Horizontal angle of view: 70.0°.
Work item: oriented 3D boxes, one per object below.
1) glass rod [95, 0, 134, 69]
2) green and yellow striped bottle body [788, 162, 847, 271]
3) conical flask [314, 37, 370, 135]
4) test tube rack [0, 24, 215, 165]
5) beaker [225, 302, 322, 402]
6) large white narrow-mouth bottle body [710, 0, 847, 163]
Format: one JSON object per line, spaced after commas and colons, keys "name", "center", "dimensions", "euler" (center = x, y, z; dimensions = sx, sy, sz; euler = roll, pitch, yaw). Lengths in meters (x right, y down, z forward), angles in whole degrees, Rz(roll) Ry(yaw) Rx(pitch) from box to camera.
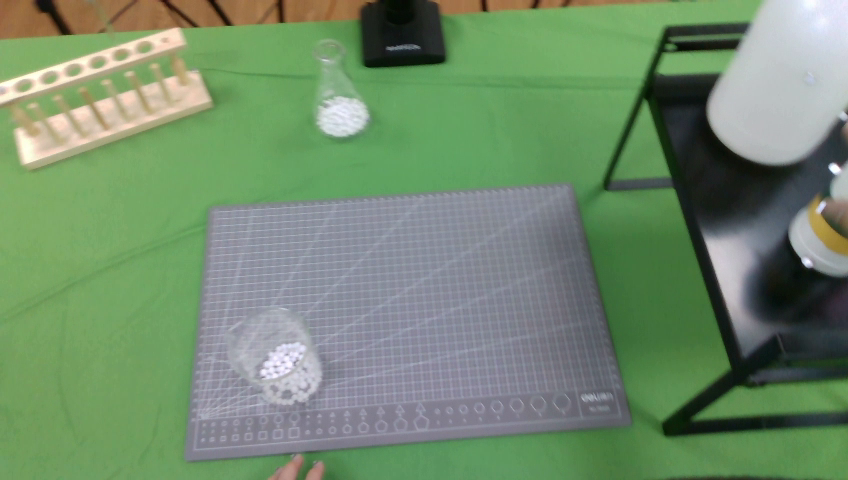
{"name": "glass rod", "center": [-0.378, -0.255, 0.734], "dimensions": [0.008, 0.201, 0.008], "euler": [-1, 53, 2]}
{"name": "green and yellow striped bottle body", "center": [0.342, -0.029, 0.467], "dimensions": [0.063, 0.120, 0.062], "euler": [0, 61, 0]}
{"name": "conical flask", "center": [-0.109, -0.196, 0.759], "dimensions": [0.075, 0.123, 0.074], "euler": [0, 61, 0]}
{"name": "test tube rack", "center": [-0.406, -0.186, 0.771], "dimensions": [0.242, 0.086, 0.066], "euler": [-23, 63, -13]}
{"name": "beaker", "center": [-0.145, 0.114, 0.598], "dimensions": [0.084, 0.101, 0.073], "euler": [14, 61, 8]}
{"name": "large white narrow-mouth bottle body", "center": [0.318, -0.157, 0.495], "dimensions": [0.102, 0.196, 0.101], "euler": [-1, 60, 2]}
